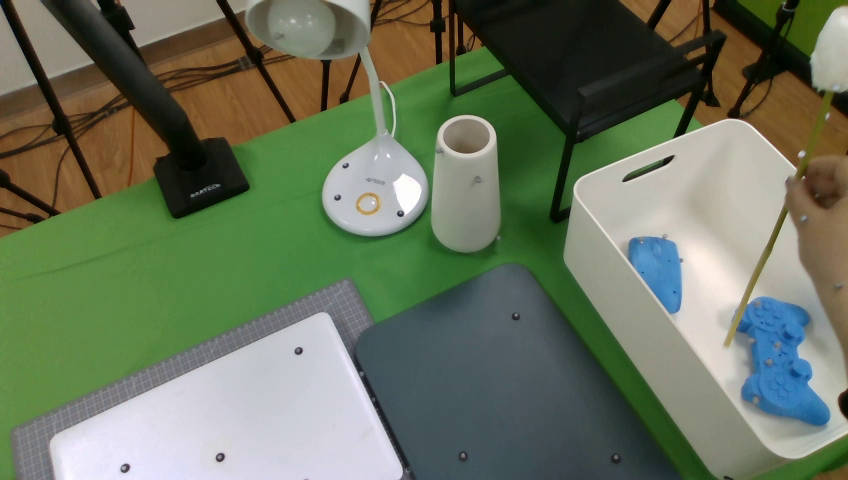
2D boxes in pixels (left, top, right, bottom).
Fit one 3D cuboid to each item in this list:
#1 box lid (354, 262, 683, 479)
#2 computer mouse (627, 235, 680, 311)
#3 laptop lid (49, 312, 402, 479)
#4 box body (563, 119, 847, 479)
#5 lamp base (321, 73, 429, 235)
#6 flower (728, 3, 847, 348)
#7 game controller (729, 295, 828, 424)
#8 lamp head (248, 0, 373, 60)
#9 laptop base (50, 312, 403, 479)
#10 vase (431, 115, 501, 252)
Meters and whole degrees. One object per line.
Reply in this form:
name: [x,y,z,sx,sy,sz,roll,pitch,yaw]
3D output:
box lid: [0.099,0.206,0.721,0.263,0.015,0.367,-24,60,-14]
computer mouse: [0.302,0.039,0.798,0.062,0.041,0.116,7,53,10]
laptop lid: [-0.229,0.246,0.690,0.357,0.013,0.239,-23,61,-12]
box body: [0.359,0.062,0.714,0.254,0.162,0.360,-22,59,-11]
lamp base: [-0.075,-0.127,0.844,0.160,0.182,0.177,4,55,5]
flower: [0.315,-0.023,0.533,0.044,0.365,0.038,-16,41,-11]
game controller: [0.427,0.136,0.727,0.097,0.052,0.154,5,56,8]
lamp head: [-0.100,-0.243,0.563,0.112,0.113,0.122,1,75,4]
laptop base: [-0.229,0.250,0.700,0.355,0.023,0.233,-24,63,-13]
vase: [0.053,-0.069,0.790,0.098,0.202,0.097,-2,56,3]
